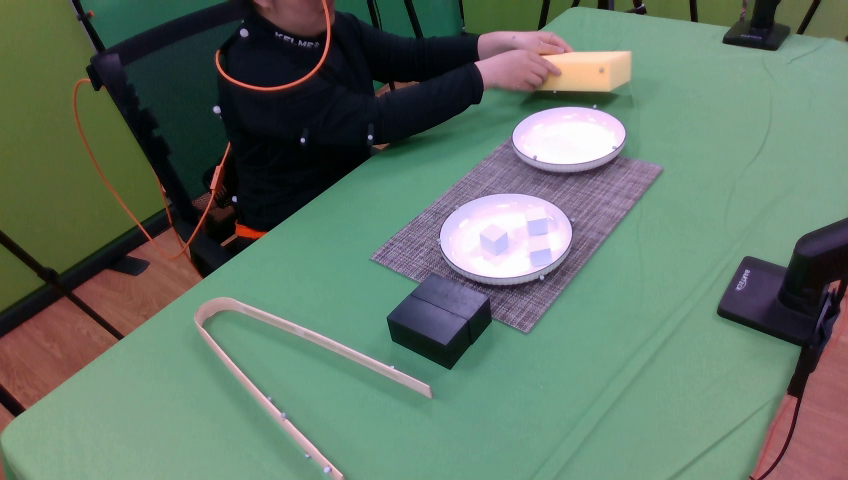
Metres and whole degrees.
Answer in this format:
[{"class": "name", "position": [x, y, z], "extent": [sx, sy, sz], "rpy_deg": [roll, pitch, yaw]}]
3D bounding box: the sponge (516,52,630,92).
[{"class": "sponge", "position": [0.312, -0.354, 1.271], "extent": [0.205, 0.061, 0.119], "rpy_deg": [12, 30, 37]}]

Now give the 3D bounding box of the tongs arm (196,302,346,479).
[{"class": "tongs arm", "position": [-0.206, 0.185, 0.791], "extent": [0.381, 0.026, 0.051], "rpy_deg": [28, 51, 37]}]

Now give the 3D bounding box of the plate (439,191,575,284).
[{"class": "plate", "position": [0.129, -0.001, 0.942], "extent": [0.207, 0.039, 0.206], "rpy_deg": [-5, 40, 5]}]

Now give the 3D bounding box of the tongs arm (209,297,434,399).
[{"class": "tongs arm", "position": [-0.153, 0.143, 0.837], "extent": [0.385, 0.028, 0.028], "rpy_deg": [16, 49, 28]}]

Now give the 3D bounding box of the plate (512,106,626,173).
[{"class": "plate", "position": [0.269, -0.185, 1.132], "extent": [0.209, 0.038, 0.208], "rpy_deg": [-5, 40, 5]}]
